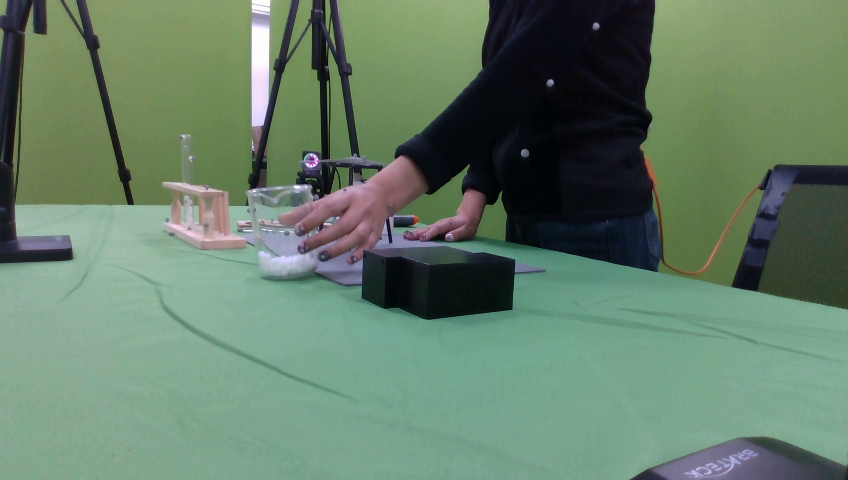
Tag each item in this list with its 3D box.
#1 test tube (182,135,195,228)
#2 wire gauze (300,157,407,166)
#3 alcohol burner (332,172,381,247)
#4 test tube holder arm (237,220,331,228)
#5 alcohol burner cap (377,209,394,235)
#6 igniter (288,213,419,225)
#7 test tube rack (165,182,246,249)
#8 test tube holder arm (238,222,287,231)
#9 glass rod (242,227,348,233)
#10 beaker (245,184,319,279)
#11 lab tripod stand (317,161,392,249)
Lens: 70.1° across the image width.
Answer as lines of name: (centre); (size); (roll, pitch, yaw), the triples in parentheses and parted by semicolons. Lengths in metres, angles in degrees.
test tube: (-0.382, -0.095, 0.983); (0.017, 0.150, 0.017); (-1, 2, 0)
wire gauze: (-0.112, -0.126, 0.959); (0.121, 0.011, 0.126); (10, 11, 41)
alcohol burner: (-0.107, -0.048, 0.961); (0.078, 0.119, 0.078); (1, 9, 0)
test tube holder arm: (-0.260, -0.029, 1.141); (0.179, 0.015, 0.013); (-2, 41, -32)
alcohol burner cap: (-0.072, -0.035, 1.145); (0.034, 0.048, 0.034); (2, 7, 0)
igniter: (-0.145, -0.044, 1.278); (0.278, 0.025, 0.057); (-1, -2, -21)
test tube rack: (-0.360, -0.045, 0.982); (0.067, 0.085, 0.241); (-3, 9, -34)
test tube holder arm: (-0.297, -0.024, 1.113); (0.088, 0.015, 0.010); (-2, 41, -32)
glass rod: (-0.232, -0.017, 1.110); (0.201, 0.008, 0.008); (1, 6, -30)
beaker: (-0.160, -0.010, 0.690); (0.074, 0.100, 0.084); (-6, 11, -4)
lab tripod stand: (-0.111, -0.059, 0.964); (0.148, 0.131, 0.148); (4, 8, 0)
